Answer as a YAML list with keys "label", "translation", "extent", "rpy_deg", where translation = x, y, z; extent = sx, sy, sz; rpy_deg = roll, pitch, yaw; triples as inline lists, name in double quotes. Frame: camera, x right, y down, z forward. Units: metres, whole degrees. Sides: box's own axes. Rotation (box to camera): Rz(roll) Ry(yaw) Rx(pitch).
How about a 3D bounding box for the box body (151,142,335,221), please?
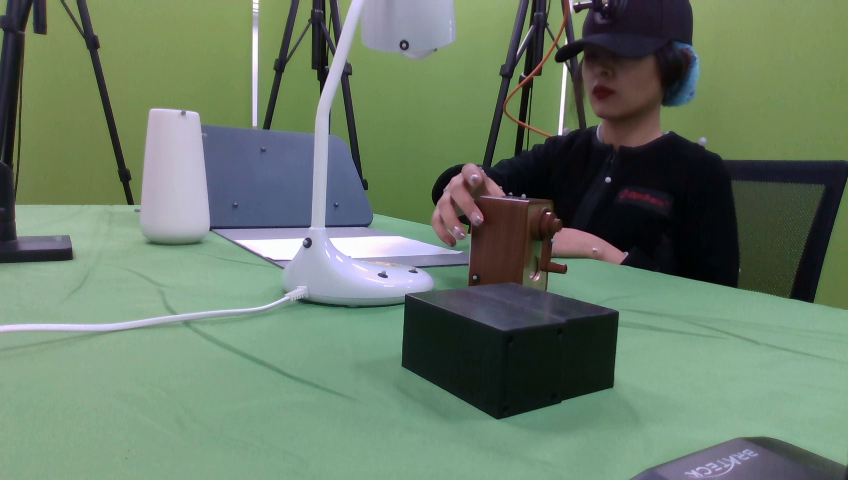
- label: "box body"
  translation: [-0.412, -0.135, 1.379]
  extent: [0.366, 0.160, 0.253]
  rpy_deg: [-2, 9, -31]

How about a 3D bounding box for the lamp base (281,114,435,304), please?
- label: "lamp base"
  translation: [-0.071, -0.034, 0.614]
  extent: [0.160, 0.180, 0.180]
  rpy_deg: [6, 10, 27]

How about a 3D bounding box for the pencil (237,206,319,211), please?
- label: "pencil"
  translation: [-0.346, -0.075, 1.434]
  extent: [0.194, 0.012, 0.012]
  rpy_deg: [0, 7, -1]

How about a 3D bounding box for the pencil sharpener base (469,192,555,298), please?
- label: "pencil sharpener base"
  translation: [0.097, 0.003, 0.652]
  extent: [0.076, 0.107, 0.061]
  rpy_deg: [8, 9, 38]

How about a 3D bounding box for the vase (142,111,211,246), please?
- label: "vase"
  translation: [-0.378, -0.093, 0.920]
  extent: [0.098, 0.200, 0.098]
  rpy_deg: [2, 9, 0]

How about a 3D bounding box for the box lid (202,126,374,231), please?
- label: "box lid"
  translation: [-0.296, -0.128, 1.234]
  extent: [0.373, 0.262, 0.015]
  rpy_deg: [-2, -35, -32]

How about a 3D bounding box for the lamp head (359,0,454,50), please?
- label: "lamp head"
  translation: [-0.024, -0.283, 0.674]
  extent: [0.112, 0.123, 0.112]
  rpy_deg: [-3, 38, 3]

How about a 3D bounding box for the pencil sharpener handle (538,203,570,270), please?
- label: "pencil sharpener handle"
  translation: [0.137, -0.003, 0.619]
  extent: [0.030, 0.067, 0.036]
  rpy_deg: [8, 5, 38]

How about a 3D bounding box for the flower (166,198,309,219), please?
- label: "flower"
  translation: [-0.400, -0.060, 1.358]
  extent: [0.044, 0.038, 0.364]
  rpy_deg: [-37, -23, 31]
